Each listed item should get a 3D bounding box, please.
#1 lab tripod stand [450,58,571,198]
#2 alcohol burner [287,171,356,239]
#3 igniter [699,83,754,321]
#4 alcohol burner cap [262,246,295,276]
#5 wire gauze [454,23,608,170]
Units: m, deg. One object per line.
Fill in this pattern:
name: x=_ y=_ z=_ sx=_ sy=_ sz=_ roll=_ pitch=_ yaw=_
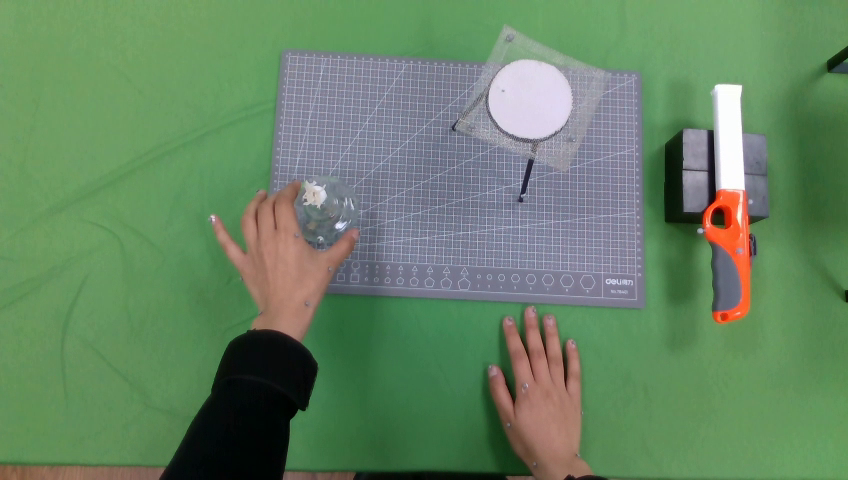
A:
lab tripod stand: x=0.105 y=-0.135 z=0.677 sx=0.148 sy=0.132 sz=0.147 roll=1 pitch=78 yaw=-2
alcohol burner: x=-0.113 y=-0.041 z=0.660 sx=0.078 sy=0.119 sz=0.077 roll=1 pitch=81 yaw=-4
igniter: x=0.340 y=-0.046 z=0.683 sx=0.057 sy=0.025 sz=0.275 roll=4 pitch=79 yaw=4
alcohol burner cap: x=-0.166 y=0.022 z=0.683 sx=0.034 sy=0.048 sz=0.033 roll=1 pitch=80 yaw=-3
wire gauze: x=0.110 y=-0.145 z=0.611 sx=0.121 sy=0.011 sz=0.124 roll=25 pitch=79 yaw=2
